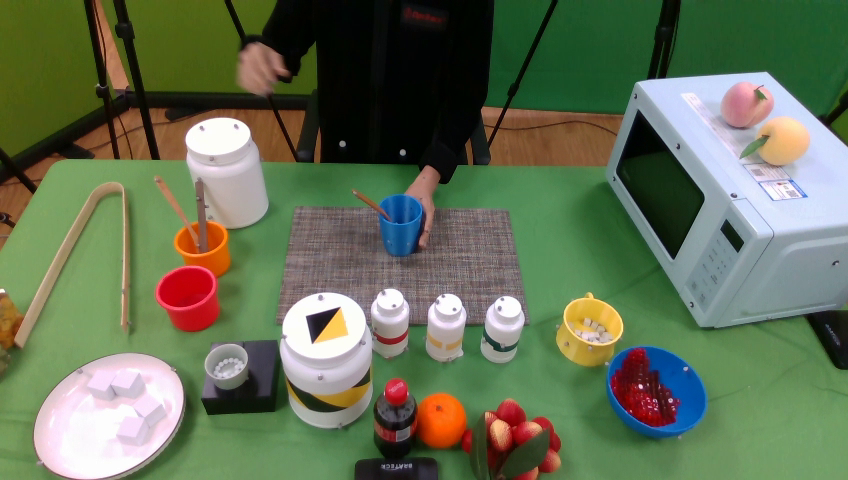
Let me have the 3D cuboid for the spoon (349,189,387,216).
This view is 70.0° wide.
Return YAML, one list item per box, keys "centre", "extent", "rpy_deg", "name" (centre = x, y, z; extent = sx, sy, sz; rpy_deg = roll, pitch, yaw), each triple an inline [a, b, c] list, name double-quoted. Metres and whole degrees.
- centre: [-0.077, -0.045, 1.120]
  extent: [0.021, 0.195, 0.041]
  rpy_deg: [-36, 47, 7]
  name: "spoon"

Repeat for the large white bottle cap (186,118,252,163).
- centre: [-0.377, -0.185, 1.115]
  extent: [0.115, 0.018, 0.114]
  rpy_deg: [2, 46, -2]
  name: "large white bottle cap"

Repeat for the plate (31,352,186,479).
- centre: [-0.459, 0.262, 0.898]
  extent: [0.209, 0.038, 0.208]
  rpy_deg: [2, 46, -2]
  name: "plate"

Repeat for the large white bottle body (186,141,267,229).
- centre: [-0.382, -0.127, 1.176]
  extent: [0.131, 0.185, 0.130]
  rpy_deg: [2, 47, -2]
  name: "large white bottle body"

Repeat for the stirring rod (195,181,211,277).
- centre: [-0.403, -0.020, 1.104]
  extent: [0.014, 0.006, 0.176]
  rpy_deg: [-6, 89, -9]
  name: "stirring rod"

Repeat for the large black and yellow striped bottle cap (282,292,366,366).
- centre: [-0.138, 0.121, 0.841]
  extent: [0.115, 0.019, 0.114]
  rpy_deg: [3, 47, -3]
  name: "large black and yellow striped bottle cap"

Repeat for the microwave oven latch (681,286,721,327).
- centre: [0.494, 0.119, 1.086]
  extent: [0.030, 0.029, 0.078]
  rpy_deg: [-5, 46, -9]
  name: "microwave oven latch"

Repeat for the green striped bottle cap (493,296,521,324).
- centre: [0.133, 0.111, 0.963]
  extent: [0.044, 0.020, 0.044]
  rpy_deg: [2, 47, -2]
  name: "green striped bottle cap"

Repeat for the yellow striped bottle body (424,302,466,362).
- centre: [0.035, 0.143, 0.995]
  extent: [0.063, 0.121, 0.062]
  rpy_deg: [3, 46, -3]
  name: "yellow striped bottle body"

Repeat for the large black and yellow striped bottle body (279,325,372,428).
- centre: [-0.143, 0.181, 0.900]
  extent: [0.131, 0.185, 0.130]
  rpy_deg: [2, 46, -2]
  name: "large black and yellow striped bottle body"

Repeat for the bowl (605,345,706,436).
- centre: [0.351, 0.248, 0.950]
  extent: [0.151, 0.077, 0.150]
  rpy_deg: [2, 46, -2]
  name: "bowl"

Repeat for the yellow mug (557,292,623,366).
- centre: [0.285, 0.145, 1.051]
  extent: [0.100, 0.064, 0.130]
  rpy_deg: [7, 46, 4]
  name: "yellow mug"

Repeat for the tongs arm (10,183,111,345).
- centre: [-0.658, 0.027, 1.109]
  extent: [0.028, 0.028, 0.385]
  rpy_deg: [-2, 45, 1]
  name: "tongs arm"

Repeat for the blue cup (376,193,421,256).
- centre: [-0.049, -0.023, 1.157]
  extent: [0.093, 0.101, 0.092]
  rpy_deg: [2, 46, -2]
  name: "blue cup"

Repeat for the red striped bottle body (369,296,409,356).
- centre: [-0.059, 0.134, 0.997]
  extent: [0.063, 0.120, 0.062]
  rpy_deg: [5, 48, -5]
  name: "red striped bottle body"

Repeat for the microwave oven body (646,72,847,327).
- centre: [0.607, -0.089, 1.163]
  extent: [0.326, 0.261, 0.438]
  rpy_deg: [-7, 46, -10]
  name: "microwave oven body"

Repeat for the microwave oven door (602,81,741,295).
- centre: [0.456, -0.107, 1.162]
  extent: [0.039, 0.245, 0.353]
  rpy_deg: [-7, 47, -11]
  name: "microwave oven door"

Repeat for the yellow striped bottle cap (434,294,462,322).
- centre: [0.038, 0.107, 0.958]
  extent: [0.044, 0.019, 0.044]
  rpy_deg: [2, 45, -2]
  name: "yellow striped bottle cap"

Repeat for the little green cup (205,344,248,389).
- centre: [-0.294, 0.191, 0.909]
  extent: [0.061, 0.039, 0.061]
  rpy_deg: [1, 47, -1]
  name: "little green cup"

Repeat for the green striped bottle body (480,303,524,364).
- centre: [0.129, 0.147, 1.000]
  extent: [0.063, 0.120, 0.063]
  rpy_deg: [2, 46, -2]
  name: "green striped bottle body"

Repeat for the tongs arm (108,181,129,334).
- centre: [-0.571, 0.019, 1.123]
  extent: [0.051, 0.026, 0.382]
  rpy_deg: [-10, 47, -12]
  name: "tongs arm"

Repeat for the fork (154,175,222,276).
- centre: [-0.431, -0.026, 1.101]
  extent: [0.028, 0.018, 0.207]
  rpy_deg: [-33, 100, -25]
  name: "fork"

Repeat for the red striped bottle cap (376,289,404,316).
- centre: [-0.055, 0.098, 0.958]
  extent: [0.044, 0.018, 0.044]
  rpy_deg: [0, 47, 0]
  name: "red striped bottle cap"
